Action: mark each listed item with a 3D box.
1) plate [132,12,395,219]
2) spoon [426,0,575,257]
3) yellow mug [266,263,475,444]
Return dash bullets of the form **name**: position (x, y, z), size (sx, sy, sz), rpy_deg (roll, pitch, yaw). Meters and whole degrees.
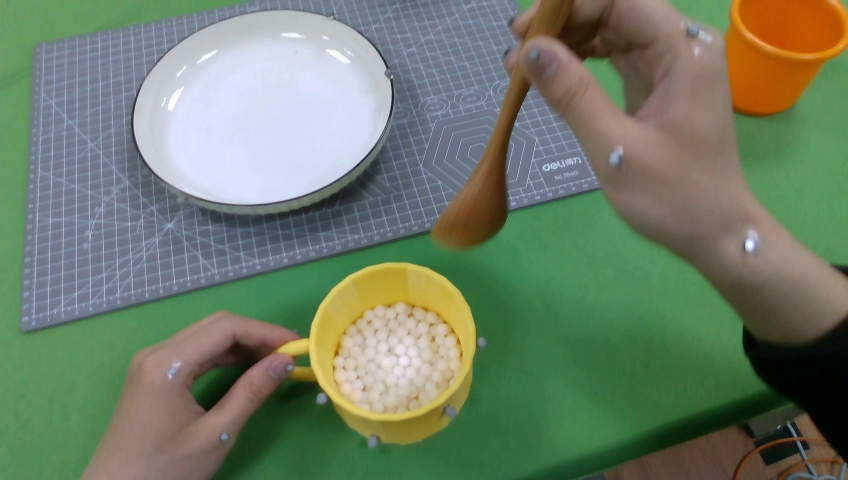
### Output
- **plate**: position (-0.126, -0.101, 0.496), size (0.208, 0.039, 0.206), rpy_deg (0, 61, 1)
- **spoon**: position (0.037, -0.052, 0.275), size (0.042, 0.195, 0.021), rpy_deg (0, 47, -17)
- **yellow mug**: position (-0.034, 0.074, 0.383), size (0.131, 0.064, 0.099), rpy_deg (-6, 60, -1)
